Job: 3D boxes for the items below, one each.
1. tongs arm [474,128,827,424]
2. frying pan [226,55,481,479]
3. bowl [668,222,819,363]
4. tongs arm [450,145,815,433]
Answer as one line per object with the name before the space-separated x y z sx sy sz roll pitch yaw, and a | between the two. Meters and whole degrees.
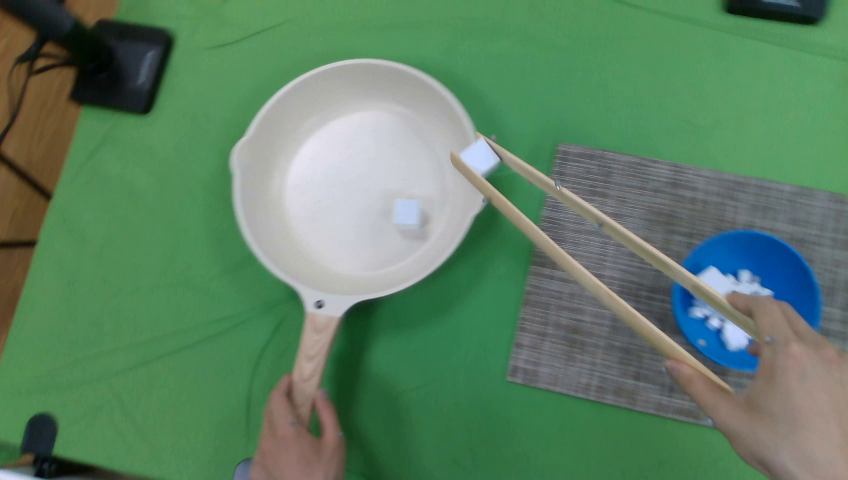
tongs arm | 0.159 0.006 0.519 0.051 0.027 0.381 -40 55 -14
frying pan | -0.104 0.021 0.702 0.306 0.103 0.485 11 72 7
bowl | 0.338 0.061 0.670 0.151 0.077 0.150 -1 79 4
tongs arm | 0.140 0.020 0.515 0.028 0.028 0.383 -34 53 -14
